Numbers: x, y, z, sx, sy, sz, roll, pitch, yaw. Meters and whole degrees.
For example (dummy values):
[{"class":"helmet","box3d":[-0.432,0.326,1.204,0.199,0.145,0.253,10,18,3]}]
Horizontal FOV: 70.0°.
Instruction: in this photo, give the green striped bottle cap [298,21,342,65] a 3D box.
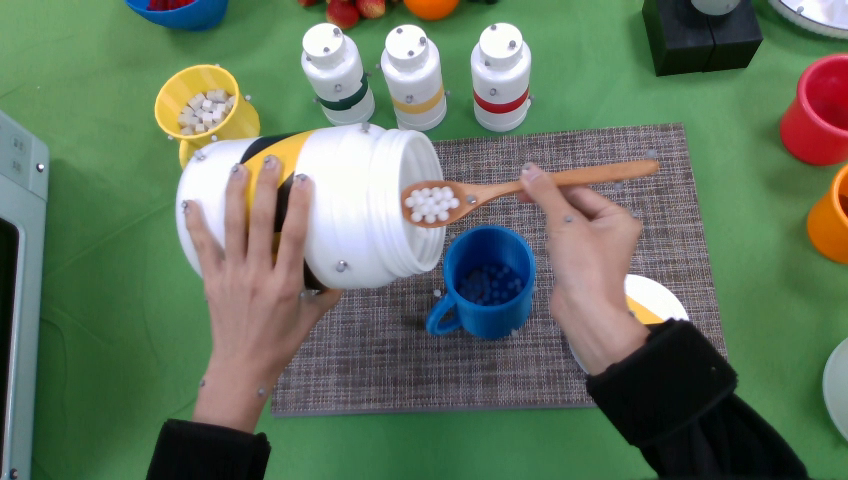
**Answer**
[{"class":"green striped bottle cap","box3d":[-0.109,-0.206,0.632,0.044,0.020,0.044,-2,67,6]}]

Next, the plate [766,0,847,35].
[{"class":"plate","box3d":[0.484,-0.321,0.706,0.209,0.038,0.207,-2,70,6]}]

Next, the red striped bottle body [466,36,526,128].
[{"class":"red striped bottle body","box3d":[0.078,-0.179,0.656,0.063,0.120,0.062,-2,68,6]}]

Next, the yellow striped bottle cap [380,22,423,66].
[{"class":"yellow striped bottle cap","box3d":[-0.023,-0.201,0.619,0.044,0.019,0.044,-1,66,2]}]

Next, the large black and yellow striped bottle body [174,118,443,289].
[{"class":"large black and yellow striped bottle body","box3d":[-0.087,-0.027,0.491,0.183,0.132,0.130,-3,68,19]}]

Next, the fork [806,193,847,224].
[{"class":"fork","box3d":[0.439,-0.011,0.533,0.028,0.019,0.205,-32,24,-12]}]

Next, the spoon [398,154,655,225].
[{"class":"spoon","box3d":[0.072,-0.042,0.451,0.193,0.022,0.041,-10,65,12]}]

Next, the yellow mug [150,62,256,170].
[{"class":"yellow mug","box3d":[-0.261,-0.134,0.708,0.100,0.064,0.130,6,71,8]}]

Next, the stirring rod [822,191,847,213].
[{"class":"stirring rod","box3d":[0.410,-0.011,0.544,0.014,0.006,0.175,-1,26,3]}]

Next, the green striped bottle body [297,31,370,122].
[{"class":"green striped bottle body","box3d":[-0.102,-0.187,0.680,0.063,0.120,0.062,-2,69,6]}]

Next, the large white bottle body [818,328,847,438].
[{"class":"large white bottle body","box3d":[0.417,0.106,0.472,0.130,0.186,0.129,-2,68,6]}]

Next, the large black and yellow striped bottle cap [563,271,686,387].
[{"class":"large black and yellow striped bottle cap","box3d":[0.195,0.086,0.593,0.115,0.019,0.114,-2,68,6]}]

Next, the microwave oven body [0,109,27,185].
[{"class":"microwave oven body","box3d":[-0.594,0.066,0.562,0.326,0.262,0.438,-12,69,2]}]

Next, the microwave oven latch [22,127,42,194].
[{"class":"microwave oven latch","box3d":[-0.470,-0.091,0.711,0.030,0.030,0.078,-11,69,2]}]

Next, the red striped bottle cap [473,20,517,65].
[{"class":"red striped bottle cap","box3d":[0.072,-0.198,0.607,0.044,0.018,0.044,-1,67,2]}]

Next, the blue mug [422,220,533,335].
[{"class":"blue mug","box3d":[0.047,0.049,0.576,0.116,0.106,0.081,-36,68,-7]}]

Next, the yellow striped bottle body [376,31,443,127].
[{"class":"yellow striped bottle body","box3d":[-0.015,-0.182,0.668,0.063,0.121,0.062,-2,68,6]}]

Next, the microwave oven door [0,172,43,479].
[{"class":"microwave oven door","box3d":[-0.444,0.072,0.537,0.039,0.245,0.353,-12,68,3]}]

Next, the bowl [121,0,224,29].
[{"class":"bowl","box3d":[-0.311,-0.329,0.781,0.151,0.077,0.150,-2,69,6]}]

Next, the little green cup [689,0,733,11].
[{"class":"little green cup","box3d":[0.315,-0.281,0.656,0.061,0.039,0.061,-2,67,4]}]
